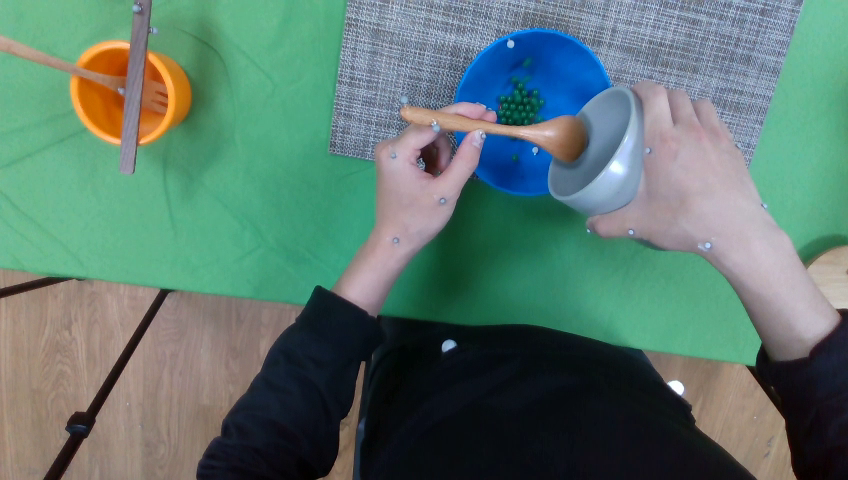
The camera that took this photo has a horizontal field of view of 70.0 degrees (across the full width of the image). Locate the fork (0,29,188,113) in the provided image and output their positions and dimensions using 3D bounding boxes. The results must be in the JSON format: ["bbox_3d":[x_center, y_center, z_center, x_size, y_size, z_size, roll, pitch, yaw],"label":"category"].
[{"bbox_3d":[-0.303,-0.153,0.525,0.209,0.018,0.028,13,114,-53],"label":"fork"}]

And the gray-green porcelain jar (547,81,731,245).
[{"bbox_3d":[0.189,-0.061,0.528,0.127,0.105,0.106,25,104,-19],"label":"gray-green porcelain jar"}]

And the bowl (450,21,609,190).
[{"bbox_3d":[0.097,-0.130,0.590,0.151,0.076,0.152,-1,108,-3],"label":"bowl"}]

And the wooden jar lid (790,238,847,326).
[{"bbox_3d":[0.477,0.048,0.704,0.108,0.020,0.109,-1,108,-2],"label":"wooden jar lid"}]

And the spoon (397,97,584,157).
[{"bbox_3d":[0.062,-0.096,0.498,0.195,0.021,0.042,2,100,-28],"label":"spoon"}]

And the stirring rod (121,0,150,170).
[{"bbox_3d":[-0.250,-0.147,0.527,0.014,0.006,0.177,10,107,-7],"label":"stirring rod"}]
